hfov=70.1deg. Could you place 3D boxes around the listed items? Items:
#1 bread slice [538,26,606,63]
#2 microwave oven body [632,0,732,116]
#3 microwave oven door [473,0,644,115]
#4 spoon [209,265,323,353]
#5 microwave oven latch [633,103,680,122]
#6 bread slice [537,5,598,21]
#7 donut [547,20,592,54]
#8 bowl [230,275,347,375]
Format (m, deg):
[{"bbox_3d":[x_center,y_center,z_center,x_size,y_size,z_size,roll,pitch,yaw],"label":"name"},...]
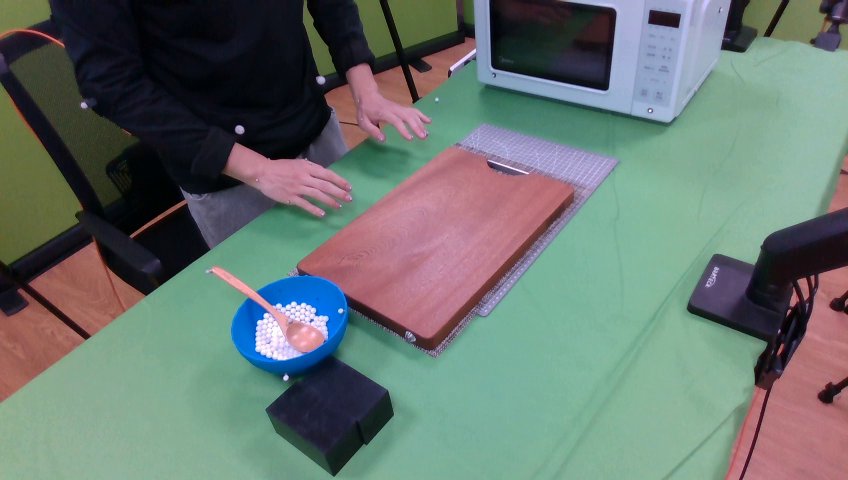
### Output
[{"bbox_3d":[0.333,-0.437,1.338,0.132,0.019,0.104,-38,43,-21],"label":"bread slice"},{"bbox_3d":[0.377,-0.462,1.267,0.438,0.261,0.327,21,48,30],"label":"microwave oven body"},{"bbox_3d":[0.257,-0.396,1.199,0.353,0.245,0.039,21,48,29],"label":"microwave oven door"},{"bbox_3d":[-0.213,0.087,0.806,0.193,0.021,0.042,37,56,11],"label":"spoon"},{"bbox_3d":[0.443,-0.249,1.157,0.078,0.029,0.030,21,48,30],"label":"microwave oven latch"},{"bbox_3d":[0.308,-0.482,1.278,0.106,0.018,0.134,12,30,24],"label":"bread slice"},{"bbox_3d":[0.312,-0.438,1.299,0.099,0.048,0.098,-20,35,16],"label":"donut"},{"bbox_3d":[-0.170,0.125,0.802,0.151,0.077,0.150,-4,40,4],"label":"bowl"}]
